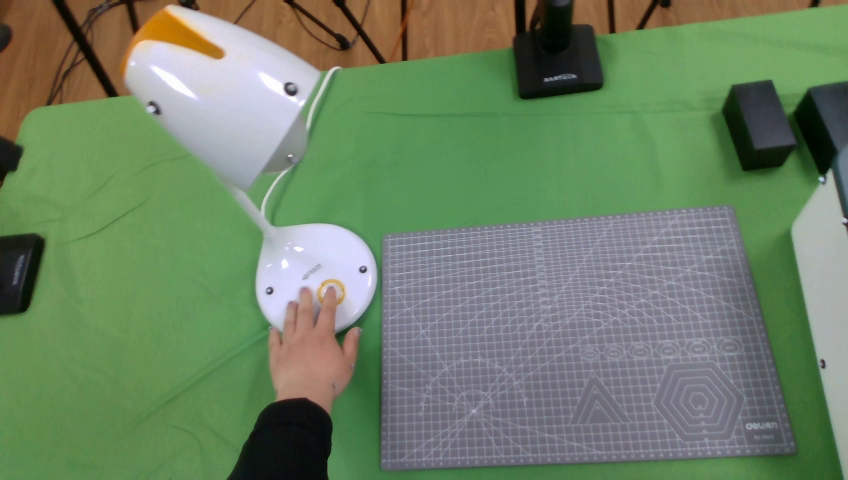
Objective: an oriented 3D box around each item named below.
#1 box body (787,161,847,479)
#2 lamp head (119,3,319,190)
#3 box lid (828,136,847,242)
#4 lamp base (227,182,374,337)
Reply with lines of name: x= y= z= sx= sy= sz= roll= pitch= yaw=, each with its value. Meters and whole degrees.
box body: x=0.538 y=0.089 z=0.592 sx=0.254 sy=0.162 sz=0.361 roll=-1 pitch=65 yaw=8
lamp head: x=-0.157 y=-0.113 z=0.453 sx=0.123 sy=0.112 sz=0.112 roll=30 pitch=70 yaw=-15
box lid: x=0.528 y=0.056 z=0.526 sx=0.263 sy=0.015 sz=0.368 roll=-1 pitch=66 yaw=8
lamp base: x=-0.165 y=0.010 z=0.726 sx=0.178 sy=0.182 sz=0.160 roll=32 pitch=74 yaw=23
